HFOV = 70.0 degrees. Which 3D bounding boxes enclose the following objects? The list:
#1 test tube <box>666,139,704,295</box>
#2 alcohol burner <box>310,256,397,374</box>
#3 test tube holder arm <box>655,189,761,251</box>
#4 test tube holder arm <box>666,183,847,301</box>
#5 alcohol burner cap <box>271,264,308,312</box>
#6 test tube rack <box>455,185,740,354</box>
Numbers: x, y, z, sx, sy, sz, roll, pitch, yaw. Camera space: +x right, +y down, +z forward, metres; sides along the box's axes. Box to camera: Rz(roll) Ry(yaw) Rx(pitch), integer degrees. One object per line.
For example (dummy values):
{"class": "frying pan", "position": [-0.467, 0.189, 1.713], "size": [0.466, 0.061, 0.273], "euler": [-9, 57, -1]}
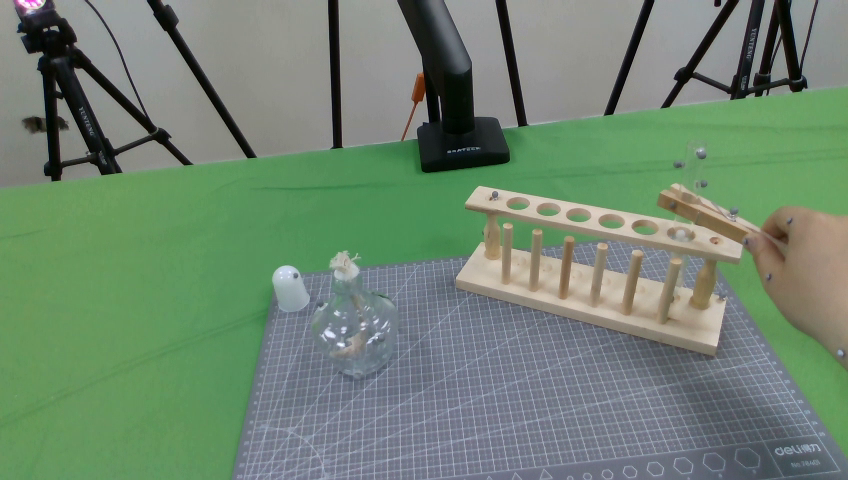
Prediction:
{"class": "test tube", "position": [0.218, -0.014, 0.513], "size": [0.017, 0.151, 0.017], "euler": [-5, 34, 4]}
{"class": "alcohol burner", "position": [-0.063, 0.059, 0.520], "size": [0.078, 0.120, 0.077], "euler": [-3, 39, 3]}
{"class": "test tube holder arm", "position": [0.227, -0.017, 0.486], "size": [0.010, 0.015, 0.087], "euler": [-33, 48, -30]}
{"class": "test tube holder arm", "position": [0.259, 0.002, 0.461], "size": [0.013, 0.015, 0.176], "euler": [-27, 46, -25]}
{"class": "alcohol burner cap", "position": [-0.137, 0.045, 0.608], "size": [0.034, 0.048, 0.033], "euler": [-3, 38, 3]}
{"class": "test tube rack", "position": [0.149, 0.021, 0.560], "size": [0.241, 0.086, 0.066], "euler": [13, 42, 24]}
